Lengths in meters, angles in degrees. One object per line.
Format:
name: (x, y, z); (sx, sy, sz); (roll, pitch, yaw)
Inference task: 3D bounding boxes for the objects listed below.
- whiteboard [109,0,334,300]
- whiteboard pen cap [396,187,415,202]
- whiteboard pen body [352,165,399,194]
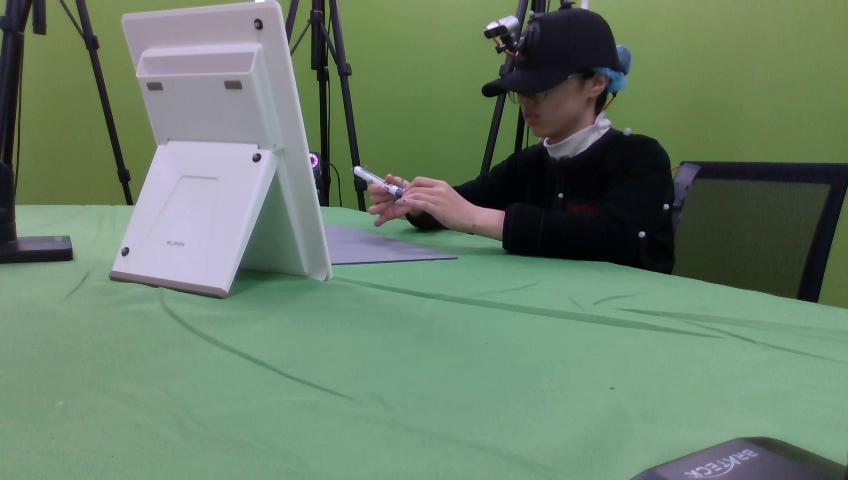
whiteboard: (-0.247, -0.072, 0.624); (0.216, 0.305, 0.144); (6, 28, 26)
whiteboard pen cap: (-0.033, -0.078, 1.023); (0.033, 0.018, 0.018); (26, 19, 31)
whiteboard pen body: (-0.078, -0.103, 1.061); (0.140, 0.017, 0.017); (29, 23, 36)
